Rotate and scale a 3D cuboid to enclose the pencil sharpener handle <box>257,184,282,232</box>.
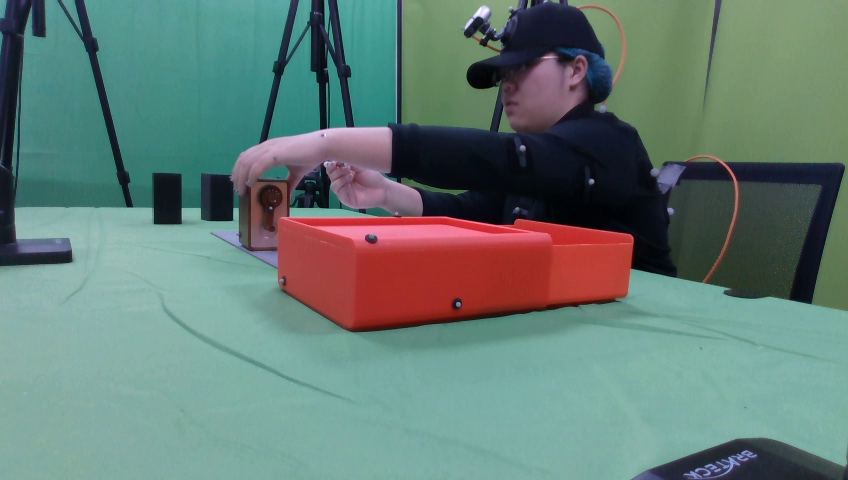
[{"bbox_3d":[-0.220,-0.046,0.865,0.036,0.067,0.030,5,5,-29],"label":"pencil sharpener handle"}]

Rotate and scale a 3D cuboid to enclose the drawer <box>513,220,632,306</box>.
[{"bbox_3d":[0.085,0.022,0.674,0.213,0.073,0.193,-2,9,-32],"label":"drawer"}]

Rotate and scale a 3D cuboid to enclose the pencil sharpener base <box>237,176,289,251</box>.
[{"bbox_3d":[-0.243,-0.040,0.912,0.061,0.107,0.076,-1,8,-29],"label":"pencil sharpener base"}]

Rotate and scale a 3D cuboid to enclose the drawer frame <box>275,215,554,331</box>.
[{"bbox_3d":[-0.016,0.022,0.610,0.215,0.082,0.200,-3,9,-32],"label":"drawer frame"}]

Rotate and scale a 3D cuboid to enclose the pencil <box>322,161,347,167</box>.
[{"bbox_3d":[-0.161,-0.136,1.091,0.012,0.012,0.193,0,7,-20],"label":"pencil"}]
